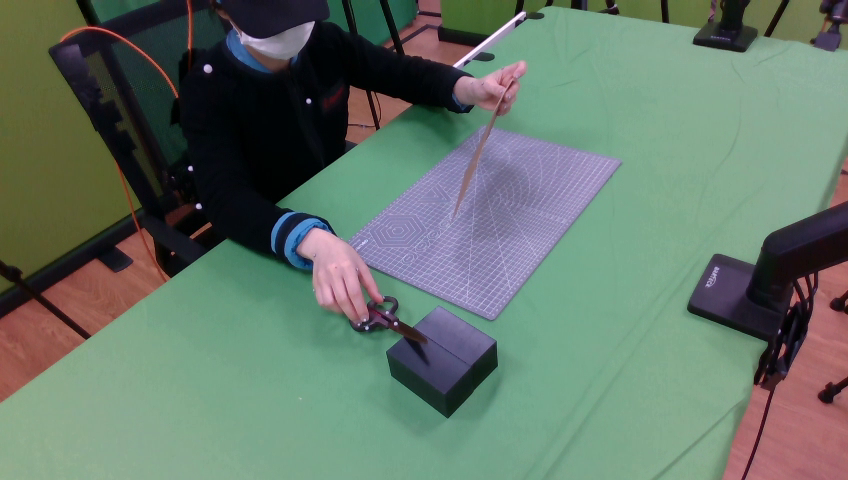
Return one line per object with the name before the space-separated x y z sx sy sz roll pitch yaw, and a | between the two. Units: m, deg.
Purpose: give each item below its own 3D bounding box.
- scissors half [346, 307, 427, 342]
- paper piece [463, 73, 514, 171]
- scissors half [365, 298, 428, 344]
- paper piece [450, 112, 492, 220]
scissors half | -0.051 0.115 0.799 0.040 0.013 0.174 -28 22 -36
paper piece | 0.112 -0.200 1.032 0.008 0.136 0.138 28 47 3
scissors half | -0.035 0.107 0.808 0.040 0.013 0.174 -27 22 -18
paper piece | 0.071 -0.114 0.940 0.004 0.135 0.135 21 46 -1
